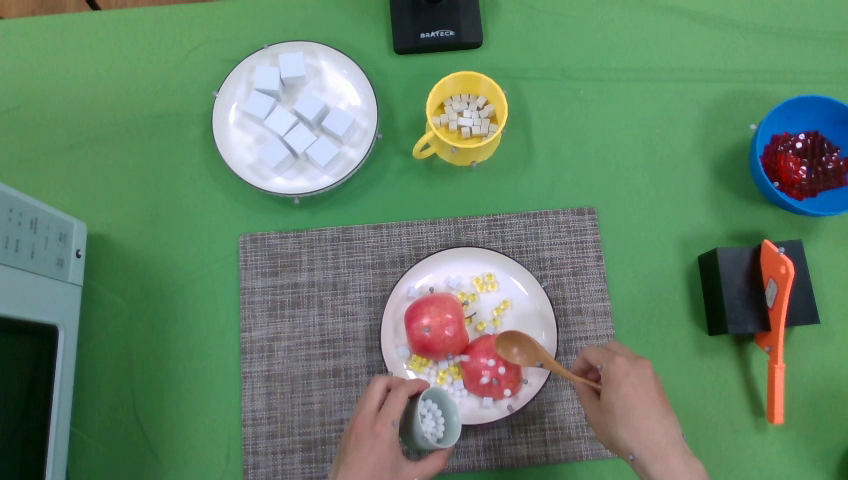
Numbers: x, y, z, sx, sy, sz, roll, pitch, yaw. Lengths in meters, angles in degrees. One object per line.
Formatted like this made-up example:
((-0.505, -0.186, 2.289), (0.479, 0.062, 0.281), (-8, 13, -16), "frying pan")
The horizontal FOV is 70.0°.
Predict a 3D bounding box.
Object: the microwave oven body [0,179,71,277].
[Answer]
((-0.568, 0.162, 0.584), (0.326, 0.261, 0.439), (-1, 79, -1), "microwave oven body")

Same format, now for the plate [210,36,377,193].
((-0.162, -0.157, 0.772), (0.208, 0.039, 0.206), (0, 78, 0), "plate")

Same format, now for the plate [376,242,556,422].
((0.048, 0.107, 0.715), (0.209, 0.038, 0.208), (0, 79, -1), "plate")

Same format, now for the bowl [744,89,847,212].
((0.457, -0.099, 0.744), (0.151, 0.077, 0.150), (0, 78, 0), "bowl")

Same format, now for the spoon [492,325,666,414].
((0.155, 0.137, 0.632), (0.192, 0.022, 0.042), (22, 105, 37), "spoon")

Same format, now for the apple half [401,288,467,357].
((0.011, 0.094, 0.701), (0.074, 0.053, 0.080), (-7, 79, 1), "apple half")

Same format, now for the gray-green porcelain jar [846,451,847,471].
((0.536, 0.250, 0.647), (0.106, 0.127, 0.105), (0, 78, 0), "gray-green porcelain jar")

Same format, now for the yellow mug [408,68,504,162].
((0.035, -0.146, 0.757), (0.131, 0.064, 0.099), (-36, 80, -7), "yellow mug")

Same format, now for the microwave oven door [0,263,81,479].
((-0.420, 0.198, 0.573), (0.039, 0.245, 0.354), (-2, 78, 0), "microwave oven door")

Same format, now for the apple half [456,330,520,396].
((0.075, 0.142, 0.701), (0.081, 0.033, 0.081), (0, 75, 0), "apple half")

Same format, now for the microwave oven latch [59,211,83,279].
((-0.424, 0.006, 0.716), (0.030, 0.029, 0.079), (0, 79, -1), "microwave oven latch")

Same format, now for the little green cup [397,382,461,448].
((0.003, 0.182, 0.621), (0.062, 0.039, 0.061), (23, 46, -25), "little green cup")

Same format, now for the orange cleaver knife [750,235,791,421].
((0.396, 0.101, 0.700), (0.012, 0.077, 0.212), (-4, 102, 3), "orange cleaver knife")
